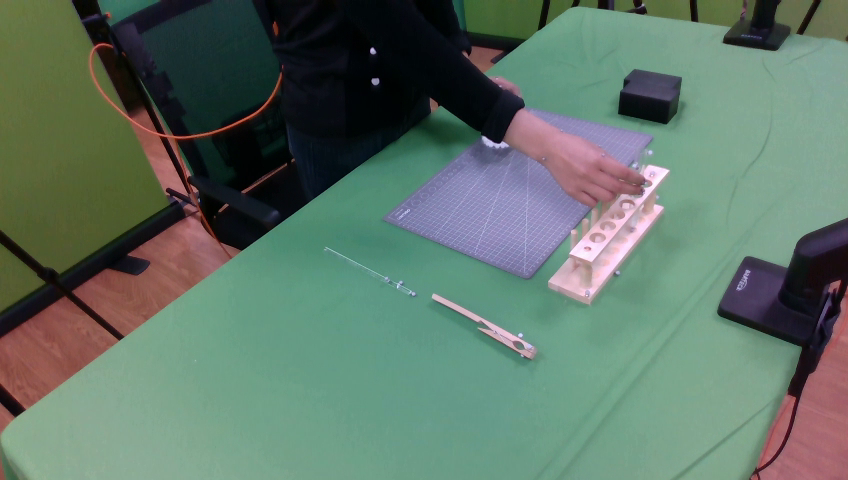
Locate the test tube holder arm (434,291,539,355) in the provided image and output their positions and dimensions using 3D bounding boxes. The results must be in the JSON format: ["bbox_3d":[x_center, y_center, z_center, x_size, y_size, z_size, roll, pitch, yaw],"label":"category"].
[{"bbox_3d":[0.081,0.112,0.832,0.177,0.015,0.013,29,83,36],"label":"test tube holder arm"}]

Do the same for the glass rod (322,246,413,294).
[{"bbox_3d":[-0.093,0.045,0.956,0.198,0.008,0.008,24,51,33],"label":"glass rod"}]

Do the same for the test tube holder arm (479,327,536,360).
[{"bbox_3d":[0.110,0.134,0.805,0.087,0.015,0.010,29,83,36],"label":"test tube holder arm"}]

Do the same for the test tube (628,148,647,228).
[{"bbox_3d":[0.311,-0.072,0.882,0.017,0.151,0.017,-6,46,7],"label":"test tube"}]

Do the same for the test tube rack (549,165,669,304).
[{"bbox_3d":[0.279,-0.018,0.902,0.066,0.085,0.243,24,50,33],"label":"test tube rack"}]

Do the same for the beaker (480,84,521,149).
[{"bbox_3d":[0.139,-0.227,1.127,0.073,0.100,0.084,28,50,34],"label":"beaker"}]
